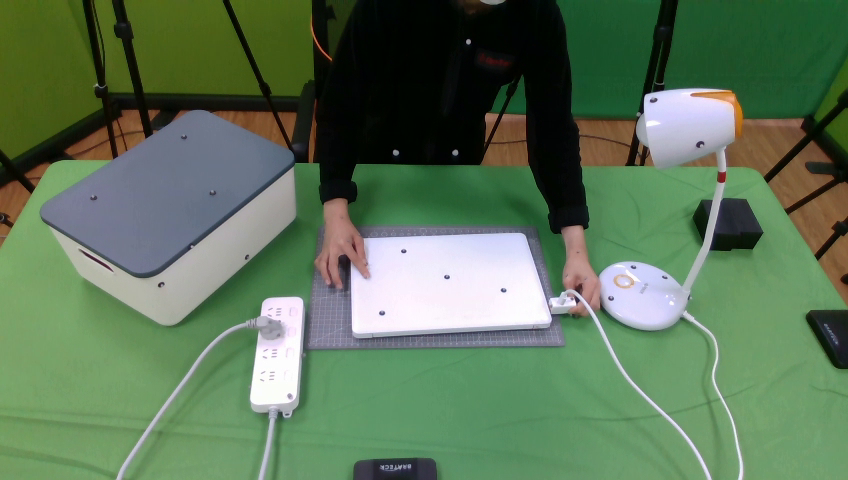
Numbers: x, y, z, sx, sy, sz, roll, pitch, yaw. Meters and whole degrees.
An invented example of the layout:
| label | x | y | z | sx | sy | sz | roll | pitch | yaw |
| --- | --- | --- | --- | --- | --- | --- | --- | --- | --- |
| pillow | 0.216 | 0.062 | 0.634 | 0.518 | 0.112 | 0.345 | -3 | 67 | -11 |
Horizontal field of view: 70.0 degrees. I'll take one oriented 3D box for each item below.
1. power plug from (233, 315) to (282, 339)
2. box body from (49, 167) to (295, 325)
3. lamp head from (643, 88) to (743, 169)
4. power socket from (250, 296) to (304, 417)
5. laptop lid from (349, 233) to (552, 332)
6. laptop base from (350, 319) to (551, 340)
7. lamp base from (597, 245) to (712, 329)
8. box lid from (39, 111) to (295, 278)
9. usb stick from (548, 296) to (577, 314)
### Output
| label | x | y | z | sx | sy | sz | roll | pitch | yaw |
| --- | --- | --- | --- | --- | --- | --- | --- | --- | --- |
| power plug | -0.271 | 0.144 | 1.000 | 0.072 | 0.053 | 0.035 | 5 | 46 | 3 |
| box body | -0.437 | -0.046 | 1.110 | 0.253 | 0.161 | 0.363 | 24 | 49 | 18 |
| lamp head | 0.380 | -0.161 | 0.852 | 0.122 | 0.113 | 0.112 | -4 | 42 | 25 |
| power socket | -0.239 | 0.182 | 0.996 | 0.072 | 0.033 | 0.225 | -2 | 47 | -5 |
| laptop lid | 0.040 | 0.071 | 1.120 | 0.357 | 0.013 | 0.240 | -1 | 44 | -5 |
| laptop base | 0.040 | 0.081 | 1.127 | 0.355 | 0.023 | 0.234 | -2 | 43 | -6 |
| lamp base | 0.418 | 0.051 | 1.072 | 0.179 | 0.181 | 0.160 | 22 | 49 | 13 |
| box lid | -0.434 | -0.097 | 1.055 | 0.262 | 0.015 | 0.370 | 25 | 49 | 18 |
| usb stick | 0.242 | 0.117 | 1.088 | 0.059 | 0.027 | 0.021 | -6 | 53 | -5 |
